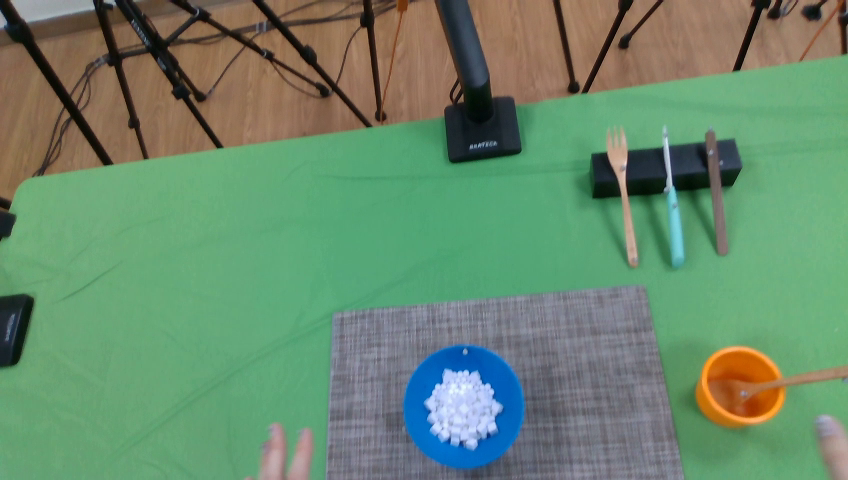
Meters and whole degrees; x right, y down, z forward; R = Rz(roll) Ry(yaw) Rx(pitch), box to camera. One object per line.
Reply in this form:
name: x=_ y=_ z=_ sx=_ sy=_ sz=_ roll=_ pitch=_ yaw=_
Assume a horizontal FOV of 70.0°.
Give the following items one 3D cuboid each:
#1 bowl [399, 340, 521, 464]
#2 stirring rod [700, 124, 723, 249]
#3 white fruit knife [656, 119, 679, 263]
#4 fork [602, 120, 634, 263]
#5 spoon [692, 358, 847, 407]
bowl: x=0.050 y=0.212 z=0.773 sx=0.151 sy=0.077 sz=0.150 roll=-4 pitch=64 yaw=9
stirring rod: x=0.404 y=-0.075 z=0.851 sx=0.014 sy=0.006 sz=0.176 roll=-6 pitch=89 yaw=15
white fruit knife: x=0.342 y=-0.072 z=0.857 sx=0.016 sy=0.027 sz=0.206 roll=-4 pitch=80 yaw=5
fork: x=0.280 y=-0.070 z=0.868 sx=0.028 sy=0.019 sz=0.206 roll=-7 pitch=84 yaw=5
spoon: x=0.403 y=0.160 z=0.699 sx=0.022 sy=0.193 sz=0.041 roll=17 pitch=59 yaw=-31
